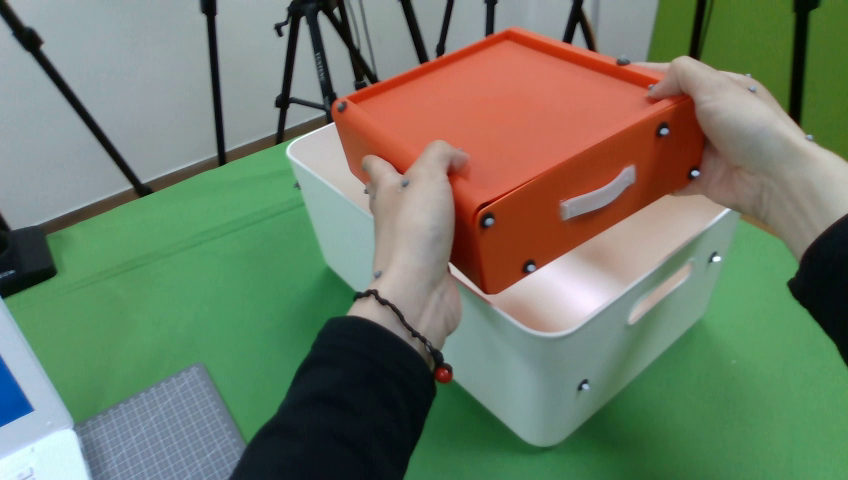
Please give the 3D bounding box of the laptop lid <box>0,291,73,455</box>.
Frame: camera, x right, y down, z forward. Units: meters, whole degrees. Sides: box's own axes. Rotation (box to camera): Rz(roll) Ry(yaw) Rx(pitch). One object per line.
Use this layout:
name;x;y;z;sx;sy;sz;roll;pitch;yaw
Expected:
laptop lid;-0.498;0.133;0.451;0.357;0.243;0.013;-28;15;-23

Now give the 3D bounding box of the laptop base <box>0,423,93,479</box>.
laptop base;-0.391;0.296;0.403;0.355;0.023;0.233;-27;47;-23

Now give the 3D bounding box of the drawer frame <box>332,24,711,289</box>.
drawer frame;0.065;-0.082;0.474;0.202;0.083;0.211;-29;39;-18

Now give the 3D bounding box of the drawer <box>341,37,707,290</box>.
drawer;0.066;-0.078;0.472;0.194;0.074;0.209;-29;40;-18

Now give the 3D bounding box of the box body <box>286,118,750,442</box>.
box body;0.071;-0.013;0.597;0.254;0.162;0.360;-31;46;-27

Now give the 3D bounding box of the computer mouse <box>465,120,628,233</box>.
computer mouse;0.089;-0.051;0.449;0.117;0.041;0.062;-26;49;-12
